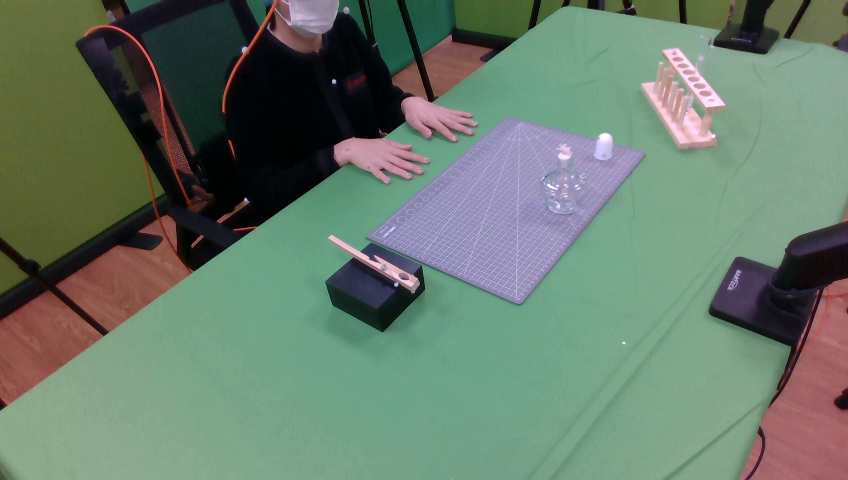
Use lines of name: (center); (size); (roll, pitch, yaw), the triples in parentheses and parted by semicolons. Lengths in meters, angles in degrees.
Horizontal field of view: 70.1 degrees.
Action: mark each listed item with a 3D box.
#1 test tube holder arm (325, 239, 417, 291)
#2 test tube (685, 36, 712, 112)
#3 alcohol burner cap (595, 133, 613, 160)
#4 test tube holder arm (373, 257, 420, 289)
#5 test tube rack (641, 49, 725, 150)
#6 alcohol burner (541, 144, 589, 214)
test tube holder arm: (-0.080, 0.034, 0.875); (0.177, 0.015, 0.013); (22, 49, 32)
test tube: (0.509, -0.307, 1.129); (0.017, 0.151, 0.017); (-1, 43, 2)
alcohol burner cap: (0.330, -0.172, 1.104); (0.034, 0.048, 0.033); (-5, 41, 5)
test tube holder arm: (-0.042, 0.046, 0.854); (0.087, 0.015, 0.010); (24, 50, 33)
test tube rack: (0.495, -0.279, 1.175); (0.067, 0.085, 0.241); (-5, 41, 3)
alcohol burner: (0.229, -0.102, 0.983); (0.078, 0.119, 0.077); (-6, 41, 5)
